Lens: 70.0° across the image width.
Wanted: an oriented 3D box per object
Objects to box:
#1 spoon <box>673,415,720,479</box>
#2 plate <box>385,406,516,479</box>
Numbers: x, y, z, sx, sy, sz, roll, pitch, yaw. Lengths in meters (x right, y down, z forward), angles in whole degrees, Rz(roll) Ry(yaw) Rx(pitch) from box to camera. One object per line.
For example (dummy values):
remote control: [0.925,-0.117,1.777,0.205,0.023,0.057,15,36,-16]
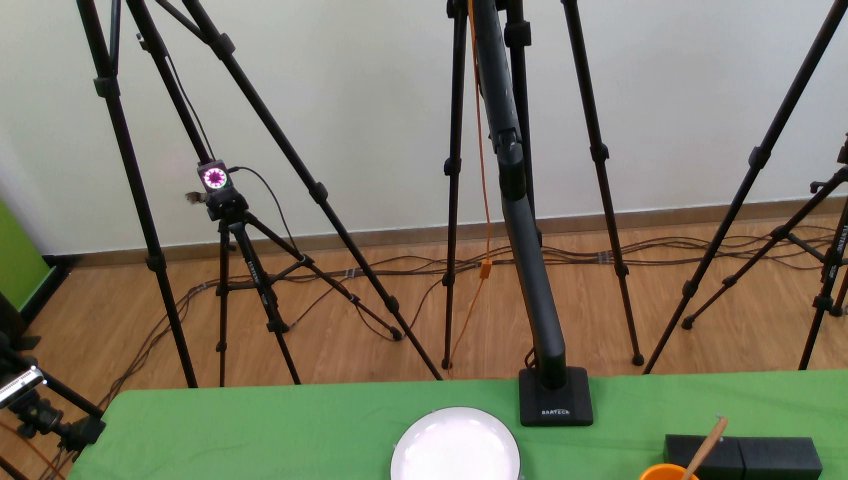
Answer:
spoon: [0.356,0.325,0.838,0.022,0.194,0.041,18,14,-41]
plate: [0.044,0.361,0.962,0.207,0.039,0.205,-7,39,6]
